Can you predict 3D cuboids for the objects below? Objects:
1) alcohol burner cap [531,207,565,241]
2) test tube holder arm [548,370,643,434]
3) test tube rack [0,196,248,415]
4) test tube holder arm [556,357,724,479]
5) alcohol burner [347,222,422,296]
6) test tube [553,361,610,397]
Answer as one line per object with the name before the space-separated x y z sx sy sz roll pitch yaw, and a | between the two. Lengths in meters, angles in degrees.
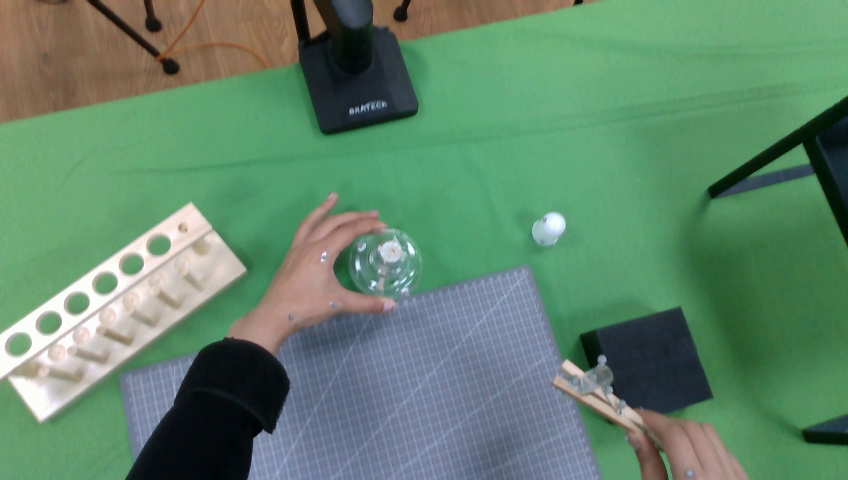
alcohol burner cap | 0.143 -0.020 0.687 0.034 0.048 0.033 1 75 -5
test tube holder arm | 0.145 0.137 0.512 0.087 0.015 0.010 30 81 7
test tube rack | -0.299 0.065 0.591 0.242 0.085 0.066 -39 82 -14
test tube holder arm | 0.186 0.157 0.507 0.178 0.015 0.013 36 83 7
alcohol burner | -0.038 0.015 0.609 0.078 0.119 0.077 2 77 -8
test tube | 0.128 0.118 0.507 0.017 0.151 0.017 0 71 1
